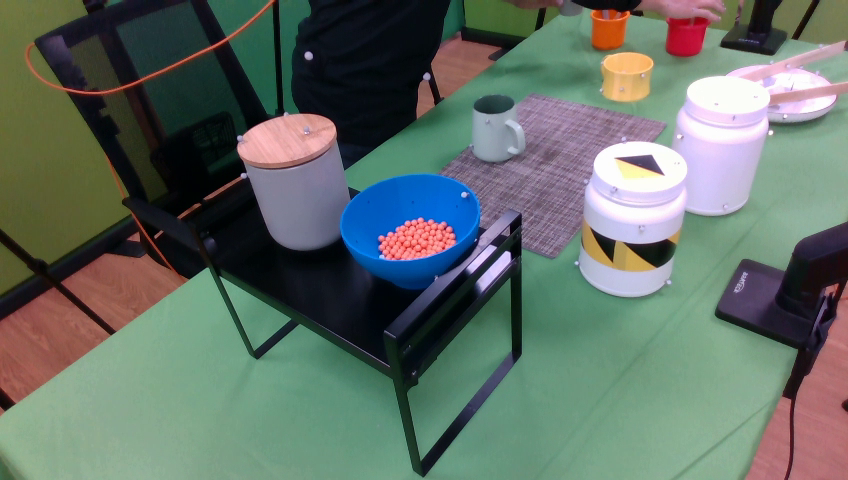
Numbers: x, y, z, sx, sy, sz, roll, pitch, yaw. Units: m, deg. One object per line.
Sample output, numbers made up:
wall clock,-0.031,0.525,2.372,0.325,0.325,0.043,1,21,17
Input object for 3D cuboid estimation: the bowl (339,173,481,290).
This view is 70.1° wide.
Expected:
bowl,-0.011,0.001,0.660,0.151,0.077,0.150,-5,41,5

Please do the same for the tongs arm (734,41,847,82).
tongs arm,0.712,-0.332,1.194,0.386,0.026,0.050,-18,45,-16

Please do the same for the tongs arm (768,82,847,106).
tongs arm,0.738,-0.282,1.134,0.388,0.028,0.028,-9,46,-5

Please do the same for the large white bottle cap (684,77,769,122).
large white bottle cap,0.448,-0.209,0.898,0.115,0.018,0.114,-4,40,4

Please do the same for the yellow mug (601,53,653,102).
yellow mug,0.423,-0.354,1.293,0.100,0.064,0.129,-23,42,-16

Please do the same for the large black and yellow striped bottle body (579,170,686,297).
large black and yellow striped bottle body,0.287,-0.027,0.841,0.131,0.185,0.130,-4,40,4

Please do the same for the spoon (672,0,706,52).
spoon,0.629,-0.520,1.394,0.041,0.022,0.193,29,96,33

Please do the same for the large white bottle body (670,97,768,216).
large white bottle body,0.458,-0.146,0.952,0.130,0.185,0.130,-4,40,4

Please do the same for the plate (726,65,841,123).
plate,0.695,-0.282,1.189,0.207,0.039,0.206,-4,40,4

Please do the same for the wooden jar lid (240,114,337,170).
wooden jar lid,-0.149,-0.106,0.674,0.108,0.021,0.108,-6,39,5

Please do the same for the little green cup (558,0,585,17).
little green cup,0.327,-0.524,1.342,0.061,0.039,0.061,-6,42,6

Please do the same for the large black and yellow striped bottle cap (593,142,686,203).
large black and yellow striped bottle cap,0.280,-0.090,0.786,0.115,0.019,0.114,-5,41,5

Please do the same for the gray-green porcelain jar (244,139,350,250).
gray-green porcelain jar,-0.144,-0.060,0.714,0.106,0.127,0.105,-4,41,4

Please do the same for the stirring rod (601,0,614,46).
stirring rod,0.440,-0.552,1.463,0.014,0.006,0.175,-7,83,2

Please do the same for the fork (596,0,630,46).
fork,0.481,-0.556,1.452,0.028,0.019,0.207,40,103,38

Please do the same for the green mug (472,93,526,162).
green mug,0.144,-0.202,1.122,0.093,0.105,0.124,-29,45,-23
